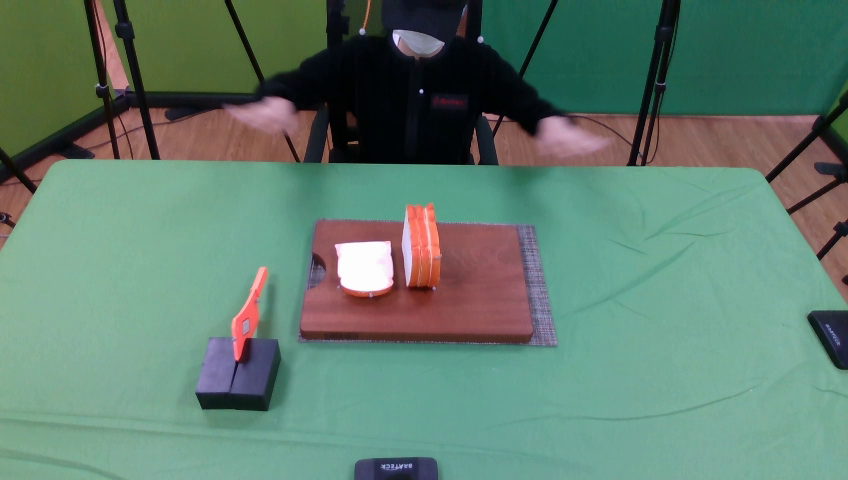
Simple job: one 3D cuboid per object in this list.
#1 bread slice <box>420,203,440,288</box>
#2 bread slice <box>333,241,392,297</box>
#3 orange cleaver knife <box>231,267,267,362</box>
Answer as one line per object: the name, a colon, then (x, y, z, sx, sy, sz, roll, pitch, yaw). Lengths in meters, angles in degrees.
bread slice: (0.010, 0.018, 1.089, 0.018, 0.107, 0.133, -2, 54, -7)
bread slice: (-0.110, 0.052, 1.096, 0.105, 0.019, 0.130, -2, 43, -8)
orange cleaver knife: (-0.292, 0.119, 1.019, 0.012, 0.077, 0.210, -1, 27, 0)
